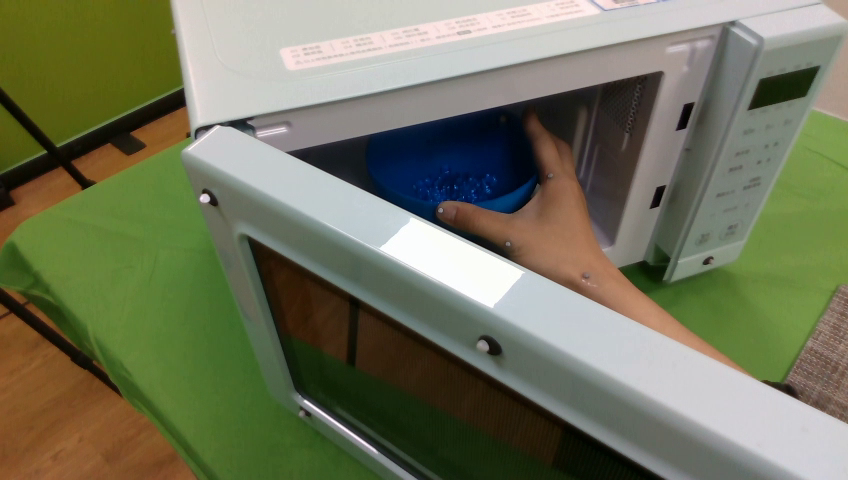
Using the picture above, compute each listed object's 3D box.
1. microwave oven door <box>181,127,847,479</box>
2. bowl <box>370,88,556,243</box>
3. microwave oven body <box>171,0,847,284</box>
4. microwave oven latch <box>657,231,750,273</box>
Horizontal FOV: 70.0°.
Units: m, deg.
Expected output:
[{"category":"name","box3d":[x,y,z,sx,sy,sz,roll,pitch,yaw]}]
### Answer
[{"category":"microwave oven door","box3d":[0.027,0.098,0.328,0.353,0.246,0.039,26,51,25]},{"category":"bowl","box3d":[0.032,-0.050,0.518,0.151,0.077,0.150,-1,54,1]},{"category":"microwave oven body","box3d":[0.040,-0.115,0.549,0.442,0.262,0.322,-16,47,-13]},{"category":"microwave oven latch","box3d":[0.259,0.005,0.563,0.079,0.030,0.030,-14,47,-12]}]
